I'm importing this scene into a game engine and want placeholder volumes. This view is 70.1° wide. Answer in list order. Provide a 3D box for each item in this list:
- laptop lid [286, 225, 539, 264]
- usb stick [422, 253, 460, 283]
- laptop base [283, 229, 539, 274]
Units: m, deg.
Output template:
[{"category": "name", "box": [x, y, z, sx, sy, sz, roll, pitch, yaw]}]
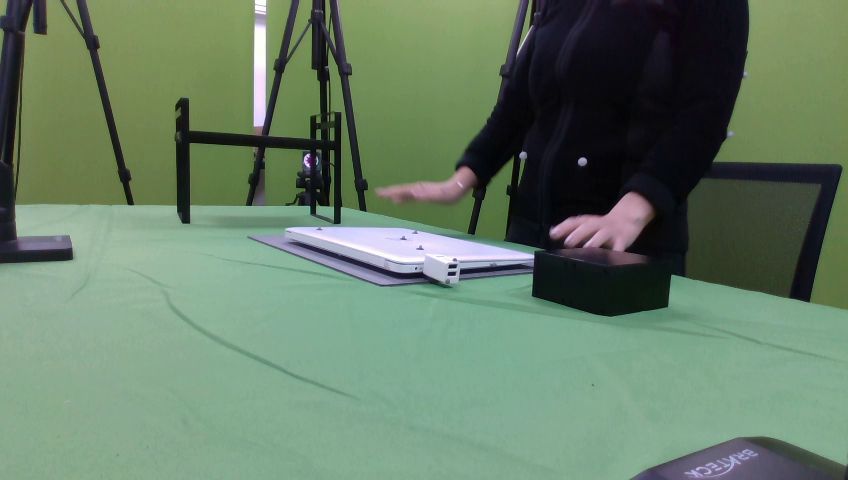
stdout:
[{"category": "laptop lid", "box": [-0.032, 0.002, 0.898, 0.243, 0.013, 0.355, 0, 8, -34]}, {"category": "usb stick", "box": [0.015, 0.031, 0.698, 0.021, 0.027, 0.059, -2, 9, -34]}, {"category": "laptop base", "box": [-0.034, 0.013, 0.898, 0.237, 0.023, 0.352, 1, 7, -36]}]
